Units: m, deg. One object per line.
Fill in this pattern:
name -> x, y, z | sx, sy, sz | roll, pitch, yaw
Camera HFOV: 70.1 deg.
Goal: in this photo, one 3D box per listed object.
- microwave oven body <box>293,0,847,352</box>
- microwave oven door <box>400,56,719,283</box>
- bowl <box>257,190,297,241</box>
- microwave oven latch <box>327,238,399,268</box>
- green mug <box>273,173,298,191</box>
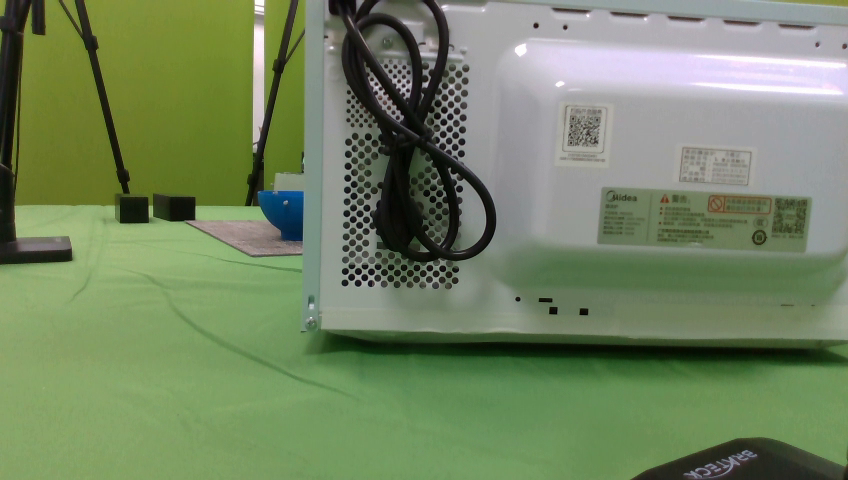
microwave oven body -> 0.122, -0.055, 0.550 | 0.442, 0.260, 0.325 | 3, 7, -5
microwave oven door -> 0.155, -0.077, 0.698 | 0.356, 0.243, 0.039 | 2, 8, -5
bowl -> -0.206, -0.041, 1.027 | 0.151, 0.077, 0.151 | 3, 8, 0
microwave oven latch -> -0.069, 0.015, 0.694 | 0.079, 0.029, 0.030 | 3, 7, -3
green mug -> -0.264, -0.084, 1.236 | 0.093, 0.105, 0.125 | 0, 8, -13
